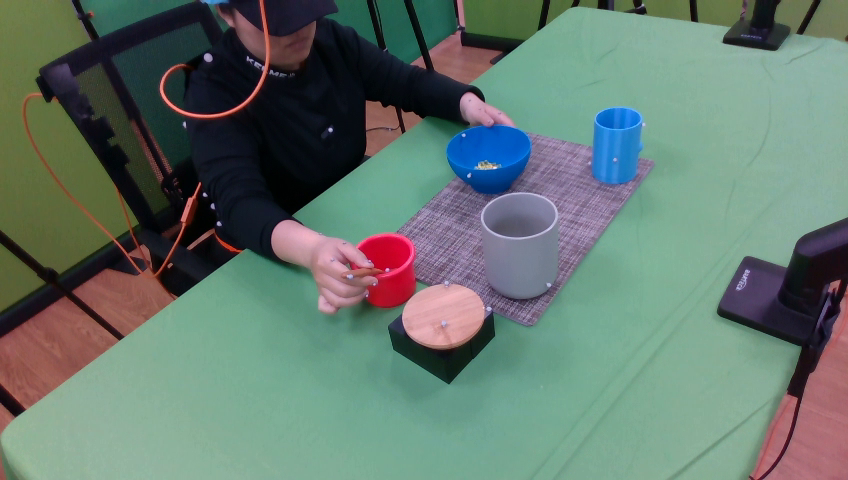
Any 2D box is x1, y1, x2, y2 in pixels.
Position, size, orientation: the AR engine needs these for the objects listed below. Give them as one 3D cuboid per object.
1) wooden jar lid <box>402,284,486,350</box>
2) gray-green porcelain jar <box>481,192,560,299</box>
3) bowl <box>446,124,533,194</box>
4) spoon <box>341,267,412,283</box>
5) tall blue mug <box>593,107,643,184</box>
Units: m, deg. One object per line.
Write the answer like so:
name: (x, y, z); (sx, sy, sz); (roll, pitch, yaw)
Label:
wooden jar lid: (0.026, 0.101, 0.786); (0.108, 0.021, 0.108); (-5, 39, 4)
gray-green porcelain jar: (0.138, 0.012, 0.858); (0.106, 0.127, 0.105); (-6, 40, 5)
bowl: (0.118, -0.135, 1.075); (0.151, 0.077, 0.150); (-5, 40, 5)
spoon: (-0.067, 0.047, 0.847); (0.041, 0.195, 0.021); (21, 92, 22)
tall blue mug: (0.330, -0.172, 1.052); (0.078, 0.108, 0.106); (-12, 40, -1)
